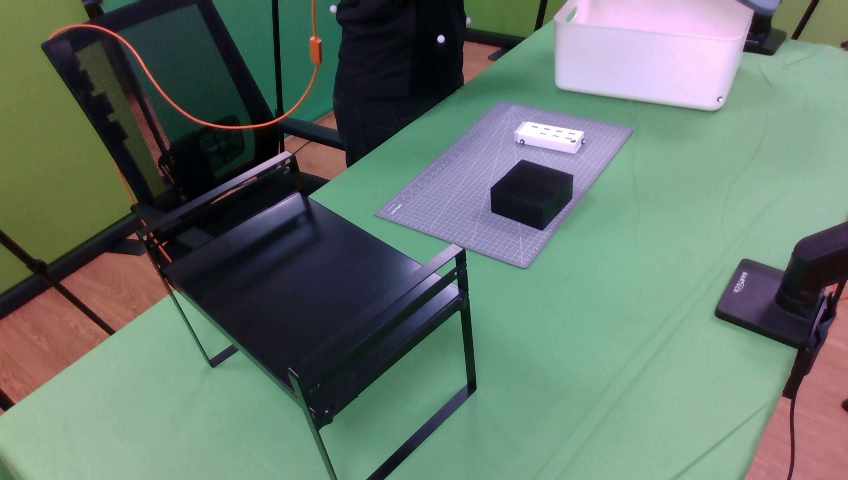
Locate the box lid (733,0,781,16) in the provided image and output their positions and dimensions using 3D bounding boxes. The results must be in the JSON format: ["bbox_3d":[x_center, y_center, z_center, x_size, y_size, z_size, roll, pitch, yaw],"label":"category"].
[{"bbox_3d":[0.496,-0.556,1.106,0.371,0.015,0.263,33,56,5],"label":"box lid"}]

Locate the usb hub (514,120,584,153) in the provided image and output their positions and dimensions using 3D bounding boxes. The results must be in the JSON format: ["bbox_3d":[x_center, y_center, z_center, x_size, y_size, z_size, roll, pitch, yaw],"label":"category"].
[{"bbox_3d":[0.241,-0.200,1.165,0.124,0.025,0.049,17,46,26],"label":"usb hub"}]

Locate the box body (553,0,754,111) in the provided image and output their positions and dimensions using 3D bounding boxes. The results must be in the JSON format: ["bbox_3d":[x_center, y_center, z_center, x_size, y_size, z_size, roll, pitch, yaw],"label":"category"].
[{"bbox_3d":[0.480,-0.417,1.282,0.362,0.161,0.254,16,46,25],"label":"box body"}]
